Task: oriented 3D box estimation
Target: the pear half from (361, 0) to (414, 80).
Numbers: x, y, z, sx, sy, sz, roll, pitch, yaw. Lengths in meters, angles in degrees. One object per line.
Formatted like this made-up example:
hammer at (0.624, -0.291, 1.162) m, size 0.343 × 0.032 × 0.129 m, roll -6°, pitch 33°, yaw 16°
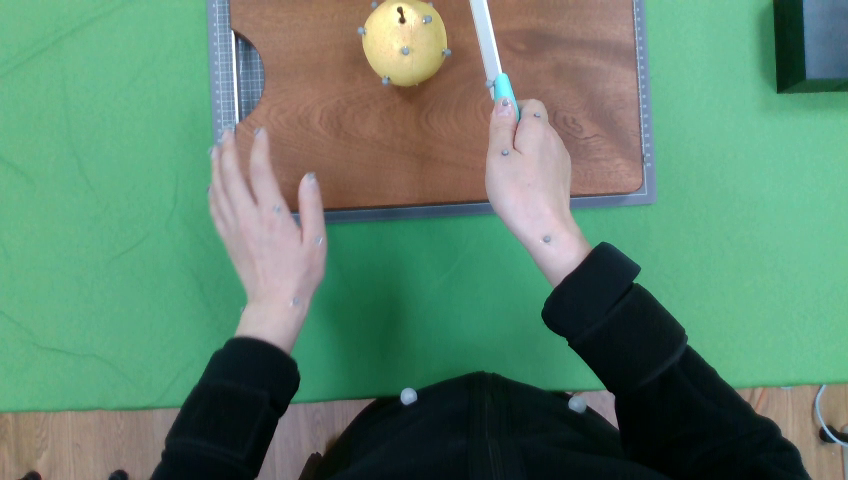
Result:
pear half at (-0.031, -0.189, 0.546) m, size 0.056 × 0.110 × 0.076 m, roll 0°, pitch 84°, yaw 1°

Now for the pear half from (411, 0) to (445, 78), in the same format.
pear half at (0.004, -0.187, 0.556) m, size 0.031 × 0.088 × 0.070 m, roll 0°, pitch 83°, yaw 0°

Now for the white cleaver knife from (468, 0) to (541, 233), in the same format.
white cleaver knife at (0.055, -0.145, 0.485) m, size 0.021 × 0.065 × 0.287 m, roll -13°, pitch 98°, yaw -1°
